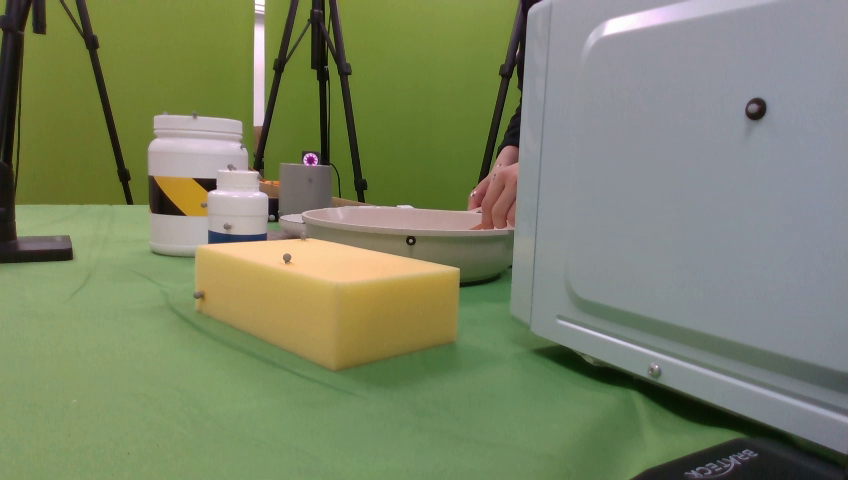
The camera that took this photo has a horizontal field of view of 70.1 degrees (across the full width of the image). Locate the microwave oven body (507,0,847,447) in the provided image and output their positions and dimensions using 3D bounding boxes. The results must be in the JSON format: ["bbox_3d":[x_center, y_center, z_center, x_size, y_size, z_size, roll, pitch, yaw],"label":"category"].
[{"bbox_3d":[0.331,-0.042,0.425,0.444,0.260,0.324,-2,8,-31],"label":"microwave oven body"}]

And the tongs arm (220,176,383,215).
[{"bbox_3d":[-0.285,-0.104,1.445,0.389,0.027,0.028,9,-4,-23],"label":"tongs arm"}]

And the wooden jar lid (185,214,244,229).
[{"bbox_3d":[-0.404,-0.037,1.169,0.108,0.020,0.108,3,7,0],"label":"wooden jar lid"}]

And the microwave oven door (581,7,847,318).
[{"bbox_3d":[0.295,-0.067,0.569,0.358,0.243,0.039,-3,8,-31],"label":"microwave oven door"}]

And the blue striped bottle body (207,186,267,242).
[{"bbox_3d":[-0.204,-0.016,0.663,0.063,0.120,0.063,2,7,0],"label":"blue striped bottle body"}]

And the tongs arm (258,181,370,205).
[{"bbox_3d":[-0.241,-0.095,1.373,0.387,0.026,0.050,9,0,-37],"label":"tongs arm"}]

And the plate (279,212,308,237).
[{"bbox_3d":[-0.139,-0.022,1.021,0.209,0.038,0.209,2,8,0],"label":"plate"}]

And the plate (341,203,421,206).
[{"bbox_3d":[-0.089,-0.053,1.309,0.208,0.039,0.207,2,8,0],"label":"plate"}]

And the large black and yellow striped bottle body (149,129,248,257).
[{"bbox_3d":[-0.315,-0.075,0.854,0.131,0.184,0.130,2,7,0],"label":"large black and yellow striped bottle body"}]

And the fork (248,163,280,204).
[{"bbox_3d":[-0.396,-0.143,1.486,0.028,0.018,0.208,20,-26,45],"label":"fork"}]

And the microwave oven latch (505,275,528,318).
[{"bbox_3d":[0.100,0.041,0.472,0.079,0.029,0.030,-2,8,-30],"label":"microwave oven latch"}]

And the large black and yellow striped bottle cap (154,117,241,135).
[{"bbox_3d":[-0.314,-0.158,0.843,0.115,0.019,0.115,3,7,0],"label":"large black and yellow striped bottle cap"}]

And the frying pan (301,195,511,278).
[{"bbox_3d":[0.050,-0.028,0.864,0.305,0.102,0.490,8,18,35],"label":"frying pan"}]

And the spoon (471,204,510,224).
[{"bbox_3d":[0.072,-0.020,0.789,0.193,0.021,0.042,-29,-17,12],"label":"spoon"}]

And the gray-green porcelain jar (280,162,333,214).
[{"bbox_3d":[-0.238,-0.092,1.221,0.106,0.126,0.106,2,7,0],"label":"gray-green porcelain jar"}]

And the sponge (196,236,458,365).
[{"bbox_3d":[-0.087,0.039,0.500,0.206,0.061,0.119,8,9,44],"label":"sponge"}]

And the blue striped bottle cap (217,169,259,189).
[{"bbox_3d":[-0.202,-0.067,0.656,0.044,0.020,0.044,0,10,0],"label":"blue striped bottle cap"}]
